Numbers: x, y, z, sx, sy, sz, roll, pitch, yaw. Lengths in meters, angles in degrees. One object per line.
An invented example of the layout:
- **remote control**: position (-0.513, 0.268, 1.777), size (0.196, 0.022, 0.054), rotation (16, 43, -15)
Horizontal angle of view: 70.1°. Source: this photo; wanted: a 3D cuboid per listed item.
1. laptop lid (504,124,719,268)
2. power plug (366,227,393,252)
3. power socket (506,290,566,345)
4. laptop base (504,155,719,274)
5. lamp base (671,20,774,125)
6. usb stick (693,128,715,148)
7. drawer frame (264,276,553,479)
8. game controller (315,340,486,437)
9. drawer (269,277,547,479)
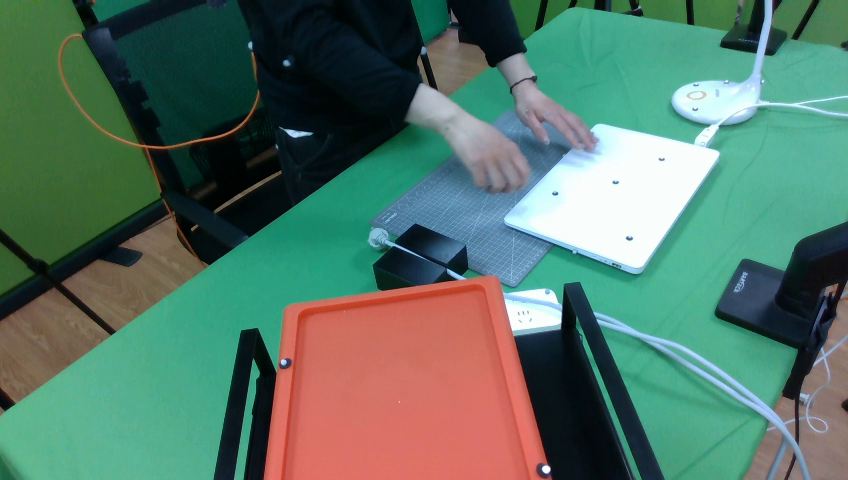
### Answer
- **laptop lid**: position (0.323, -0.093, 1.021), size (0.239, 0.013, 0.358), rotation (23, 49, 33)
- **power plug**: position (-0.068, 0.009, 0.955), size (0.035, 0.053, 0.072), rotation (-33, 49, 2)
- **power socket**: position (0.081, 0.112, 0.822), size (0.227, 0.033, 0.072), rotation (-7, 41, 0)
- **laptop base**: position (0.326, -0.083, 1.028), size (0.233, 0.023, 0.355), rotation (21, 48, 32)
- **lamp base**: position (0.581, -0.332, 1.154), size (0.179, 0.181, 0.160), rotation (2, 41, 7)
- **usb stick**: position (0.502, -0.176, 1.092), size (0.021, 0.027, 0.059), rotation (29, 55, 28)
- **drawer frame**: position (-0.016, 0.137, 0.490), size (0.202, 0.083, 0.212), rotation (-8, 41, -2)
- **game controller**: position (-0.021, 0.120, 0.534), size (0.155, 0.052, 0.096), rotation (-3, 37, 0)
- **drawer**: position (-0.018, 0.137, 0.493), size (0.195, 0.073, 0.210), rotation (-7, 41, -1)
